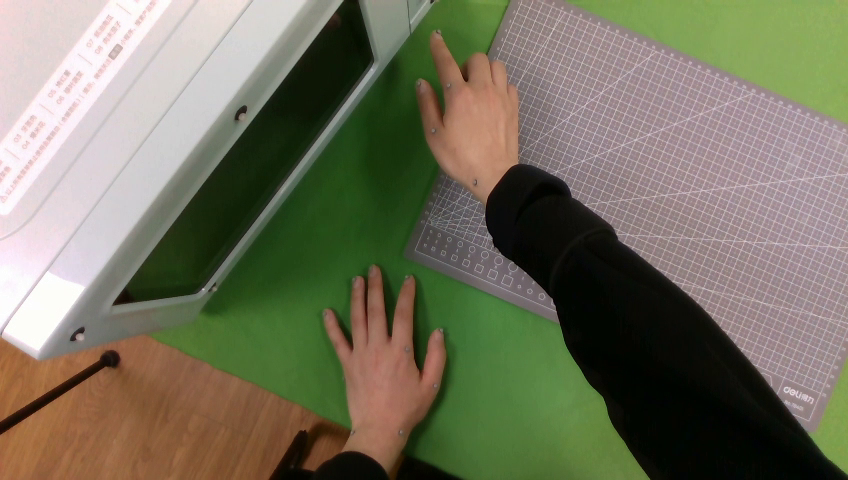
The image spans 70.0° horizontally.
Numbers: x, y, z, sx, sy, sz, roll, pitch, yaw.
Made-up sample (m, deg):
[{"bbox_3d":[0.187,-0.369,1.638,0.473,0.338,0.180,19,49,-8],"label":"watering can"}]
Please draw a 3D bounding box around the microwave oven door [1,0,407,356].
[{"bbox_3d":[-0.136,-0.076,0.474,0.039,0.244,0.355,37,89,1],"label":"microwave oven door"}]

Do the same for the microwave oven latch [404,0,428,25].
[{"bbox_3d":[-0.001,-0.247,0.578,0.030,0.029,0.079,39,90,0],"label":"microwave oven latch"}]

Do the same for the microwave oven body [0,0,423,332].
[{"bbox_3d":[-0.227,-0.197,0.480,0.326,0.260,0.441,37,90,0],"label":"microwave oven body"}]
